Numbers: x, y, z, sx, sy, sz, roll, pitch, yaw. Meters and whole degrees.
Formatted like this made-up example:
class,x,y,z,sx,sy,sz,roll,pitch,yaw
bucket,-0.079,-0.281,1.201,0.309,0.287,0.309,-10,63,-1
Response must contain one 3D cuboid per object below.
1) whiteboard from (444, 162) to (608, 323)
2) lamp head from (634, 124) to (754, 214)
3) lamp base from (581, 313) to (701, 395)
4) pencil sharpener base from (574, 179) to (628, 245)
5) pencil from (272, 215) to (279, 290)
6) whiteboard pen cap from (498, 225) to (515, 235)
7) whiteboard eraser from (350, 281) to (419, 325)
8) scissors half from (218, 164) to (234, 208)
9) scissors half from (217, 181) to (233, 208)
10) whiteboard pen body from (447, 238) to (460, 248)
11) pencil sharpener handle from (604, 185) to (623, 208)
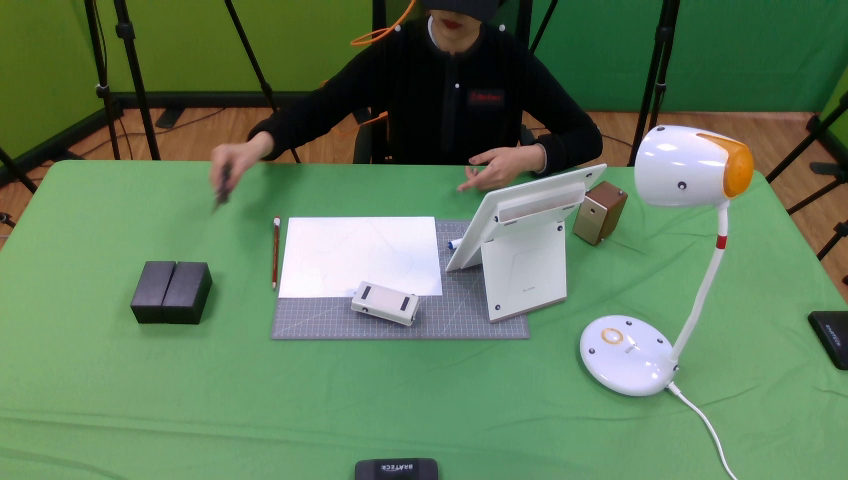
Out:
class,x,y,z,sx,sy,sz,roll,pitch,yaw
whiteboard,0.186,0.025,1.029,0.217,0.306,0.143,-14,68,-18
lamp head,0.351,-0.089,0.775,0.112,0.113,0.122,-30,30,-28
lamp base,0.361,0.144,0.973,0.178,0.181,0.160,34,53,23
pencil sharpener base,0.355,-0.057,1.217,0.076,0.107,0.061,-34,56,-31
pencil,-0.287,0.022,1.164,0.012,0.012,0.192,-4,48,-8
whiteboard pen cap,0.166,-0.019,1.222,0.033,0.018,0.018,-15,49,-19
whiteboard eraser,-0.069,0.113,1.065,0.112,0.042,0.055,14,46,10
scissors half,-0.360,-0.097,1.093,0.013,0.040,0.174,1,29,-11
scissors half,-0.363,-0.078,1.100,0.013,0.040,0.174,7,12,-12
whiteboard pen body,0.112,-0.005,1.203,0.141,0.017,0.017,-14,49,-18
pencil sharpener handle,0.390,-0.091,1.235,0.030,0.068,0.036,-34,69,-31
